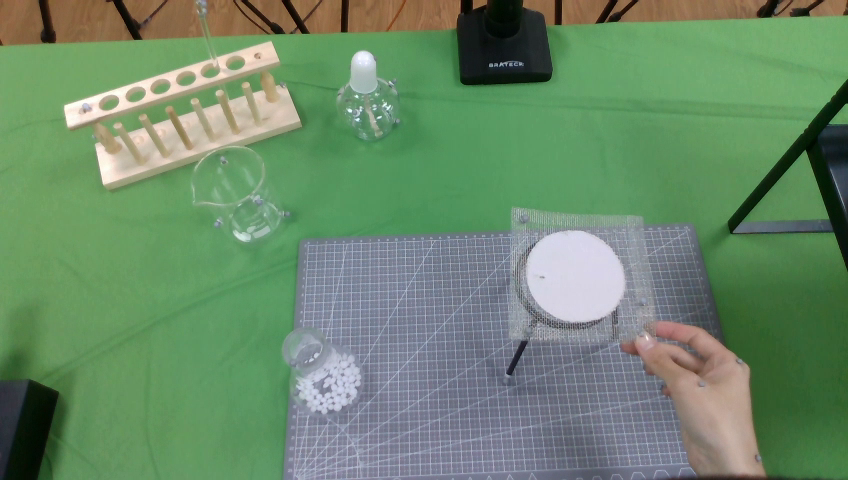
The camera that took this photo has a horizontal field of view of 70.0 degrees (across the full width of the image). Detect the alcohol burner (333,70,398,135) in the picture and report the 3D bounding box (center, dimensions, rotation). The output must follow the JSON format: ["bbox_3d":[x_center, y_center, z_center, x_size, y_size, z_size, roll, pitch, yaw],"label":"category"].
[{"bbox_3d":[-0.070,-0.180,0.716,0.078,0.120,0.077,0,61,0],"label":"alcohol burner"}]

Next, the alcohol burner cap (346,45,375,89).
[{"bbox_3d":[-0.071,-0.199,0.685,0.034,0.048,0.033,4,62,-7],"label":"alcohol burner cap"}]

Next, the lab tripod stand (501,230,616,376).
[{"bbox_3d":[0.126,0.058,0.582,0.148,0.132,0.147,0,62,0],"label":"lab tripod stand"}]

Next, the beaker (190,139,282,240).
[{"bbox_3d":[-0.202,-0.048,0.661,0.084,0.101,0.073,-42,70,-17],"label":"beaker"}]

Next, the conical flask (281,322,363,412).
[{"bbox_3d":[-0.101,0.113,0.565,0.075,0.123,0.074,0,63,1],"label":"conical flask"}]

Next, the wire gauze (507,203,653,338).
[{"bbox_3d":[0.133,0.024,0.523,0.121,0.011,0.124,4,66,0],"label":"wire gauze"}]

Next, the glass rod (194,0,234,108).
[{"bbox_3d":[-0.236,-0.215,0.677,0.008,0.201,0.008,2,62,-3],"label":"glass rod"}]

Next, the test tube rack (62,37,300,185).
[{"bbox_3d":[-0.281,-0.152,0.721,0.242,0.086,0.066,-21,65,-9],"label":"test tube rack"}]
